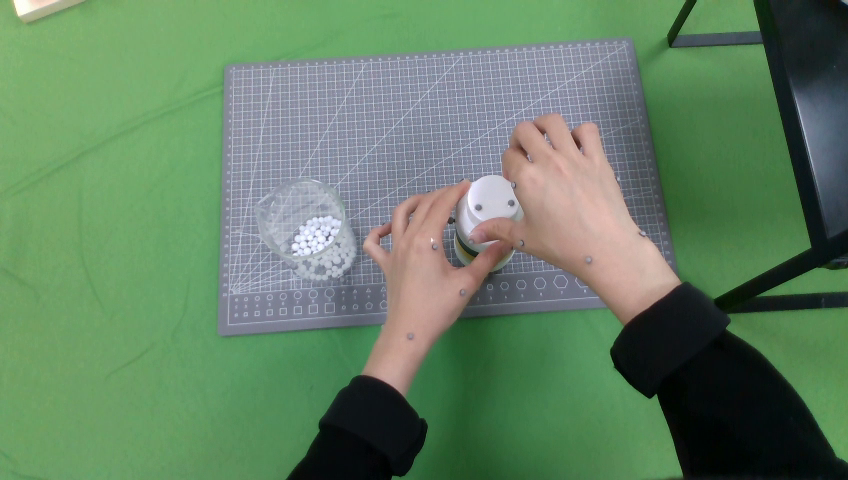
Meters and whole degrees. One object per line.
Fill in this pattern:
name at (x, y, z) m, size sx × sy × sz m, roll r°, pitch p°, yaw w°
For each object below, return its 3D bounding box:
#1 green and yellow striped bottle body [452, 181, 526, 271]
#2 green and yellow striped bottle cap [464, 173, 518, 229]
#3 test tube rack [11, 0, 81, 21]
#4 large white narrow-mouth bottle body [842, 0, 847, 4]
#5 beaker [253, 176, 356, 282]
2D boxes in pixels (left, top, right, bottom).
green and yellow striped bottle body at (0.058, -0.016, 0.550) m, size 0.063 × 0.120 × 0.063 m, roll 0°, pitch 73°, yaw 2°
green and yellow striped bottle cap at (0.055, -0.033, 0.499) m, size 0.045 × 0.020 × 0.045 m, roll 0°, pitch 74°, yaw 0°
test tube rack at (-0.362, -0.338, 0.673) m, size 0.242 × 0.085 × 0.066 m, roll -24°, pitch 74°, yaw -7°
large white narrow-mouth bottle body at (0.354, -0.247, 0.393) m, size 0.102 × 0.196 × 0.101 m, roll -1°, pitch 72°, yaw 3°
beaker at (-0.106, -0.006, 0.560) m, size 0.084 × 0.101 × 0.073 m, roll 16°, pitch 73°, yaw 6°
